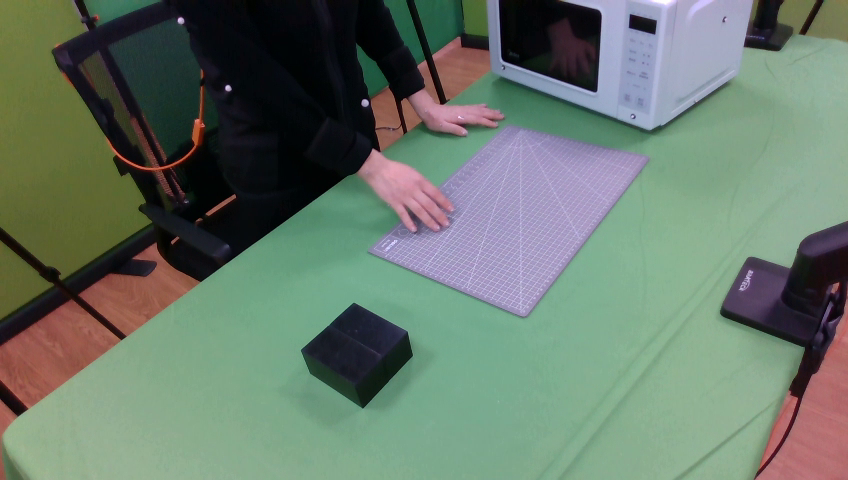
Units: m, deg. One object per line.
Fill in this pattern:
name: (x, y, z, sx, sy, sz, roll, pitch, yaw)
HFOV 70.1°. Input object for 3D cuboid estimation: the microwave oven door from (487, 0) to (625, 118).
microwave oven door: (0.262, -0.409, 1.221, 0.039, 0.245, 0.352, -33, 45, -25)

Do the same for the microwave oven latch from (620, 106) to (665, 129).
microwave oven latch: (0.412, -0.237, 1.146, 0.030, 0.029, 0.078, -32, 44, -23)

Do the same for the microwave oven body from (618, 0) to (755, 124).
microwave oven body: (0.402, -0.458, 1.259, 0.327, 0.261, 0.437, -33, 45, -24)
